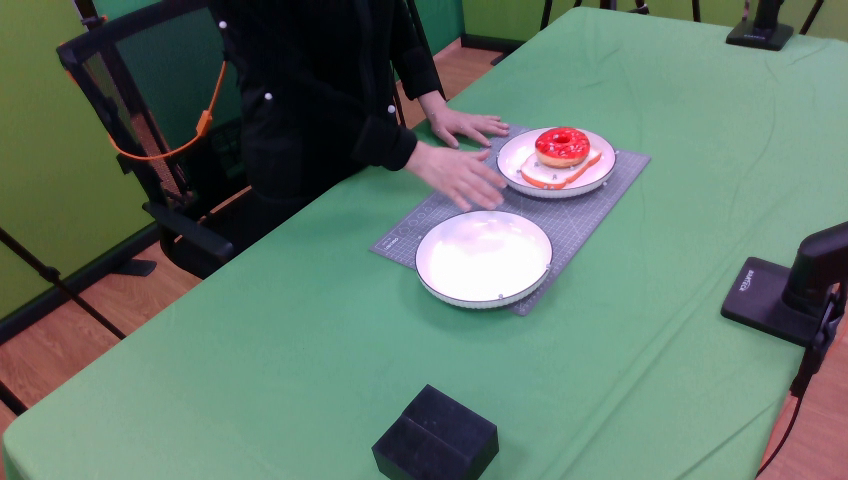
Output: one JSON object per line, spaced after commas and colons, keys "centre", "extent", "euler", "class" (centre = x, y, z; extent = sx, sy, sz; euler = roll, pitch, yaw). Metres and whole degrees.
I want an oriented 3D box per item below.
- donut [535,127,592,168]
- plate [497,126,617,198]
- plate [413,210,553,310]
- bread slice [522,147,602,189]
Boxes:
{"centre": [0.248, -0.165, 1.073], "extent": [0.099, 0.048, 0.098], "euler": [-5, 39, 5], "class": "donut"}
{"centre": [0.236, -0.136, 1.085], "extent": [0.209, 0.038, 0.208], "euler": [-5, 40, 5], "class": "plate"}
{"centre": [0.089, 0.033, 0.914], "extent": [0.207, 0.039, 0.206], "euler": [-5, 40, 5], "class": "plate"}
{"centre": [0.242, -0.137, 1.085], "extent": [0.106, 0.018, 0.134], "euler": [23, 51, 34], "class": "bread slice"}
